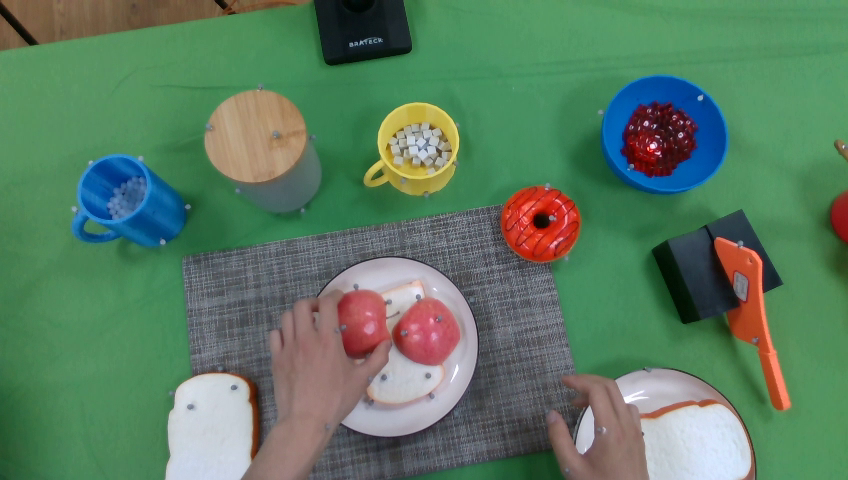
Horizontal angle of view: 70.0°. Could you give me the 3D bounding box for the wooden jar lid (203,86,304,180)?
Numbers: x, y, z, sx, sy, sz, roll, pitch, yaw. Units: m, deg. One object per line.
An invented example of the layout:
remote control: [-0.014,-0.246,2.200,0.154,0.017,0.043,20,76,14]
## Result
wooden jar lid: [-0.184,-0.114,0.659,0.108,0.021,0.108,0,75,0]

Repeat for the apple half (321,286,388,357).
apple half: [-0.080,0.090,0.680,0.074,0.053,0.080,-4,79,1]

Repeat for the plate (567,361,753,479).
plate: [0.265,0.245,0.694,0.209,0.038,0.208,0,77,0]

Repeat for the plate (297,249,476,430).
plate: [-0.043,0.116,0.715,0.208,0.039,0.206,0,77,-1]

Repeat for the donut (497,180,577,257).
donut: [0.139,-0.027,0.747,0.099,0.048,0.098,0,78,-1]

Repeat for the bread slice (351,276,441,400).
bread slice: [-0.036,0.119,0.716,0.107,0.018,0.133,-21,76,-5]

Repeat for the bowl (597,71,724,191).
bowl: [0.283,-0.124,0.758,0.151,0.077,0.150,0,78,-1]

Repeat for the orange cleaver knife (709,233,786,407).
orange cleaver knife: [0.376,0.093,0.709,0.012,0.077,0.212,-20,100,-12]

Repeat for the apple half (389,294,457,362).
apple half: [0.002,0.100,0.696,0.081,0.033,0.081,1,75,-2]

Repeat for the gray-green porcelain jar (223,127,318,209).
gray-green porcelain jar: [-0.184,-0.099,0.719,0.106,0.127,0.105,0,77,-1]

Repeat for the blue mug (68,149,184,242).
blue mug: [-0.357,-0.040,0.713,0.116,0.106,0.082,-35,79,-8]

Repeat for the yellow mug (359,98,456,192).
yellow mug: [-0.024,-0.109,0.756,0.131,0.064,0.099,-33,80,-7]

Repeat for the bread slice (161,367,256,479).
bread slice: [-0.248,0.213,0.699,0.105,0.019,0.131,-2,78,-2]

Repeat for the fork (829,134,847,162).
fork: [0.518,-0.068,0.714,0.209,0.018,0.028,31,73,-36]
